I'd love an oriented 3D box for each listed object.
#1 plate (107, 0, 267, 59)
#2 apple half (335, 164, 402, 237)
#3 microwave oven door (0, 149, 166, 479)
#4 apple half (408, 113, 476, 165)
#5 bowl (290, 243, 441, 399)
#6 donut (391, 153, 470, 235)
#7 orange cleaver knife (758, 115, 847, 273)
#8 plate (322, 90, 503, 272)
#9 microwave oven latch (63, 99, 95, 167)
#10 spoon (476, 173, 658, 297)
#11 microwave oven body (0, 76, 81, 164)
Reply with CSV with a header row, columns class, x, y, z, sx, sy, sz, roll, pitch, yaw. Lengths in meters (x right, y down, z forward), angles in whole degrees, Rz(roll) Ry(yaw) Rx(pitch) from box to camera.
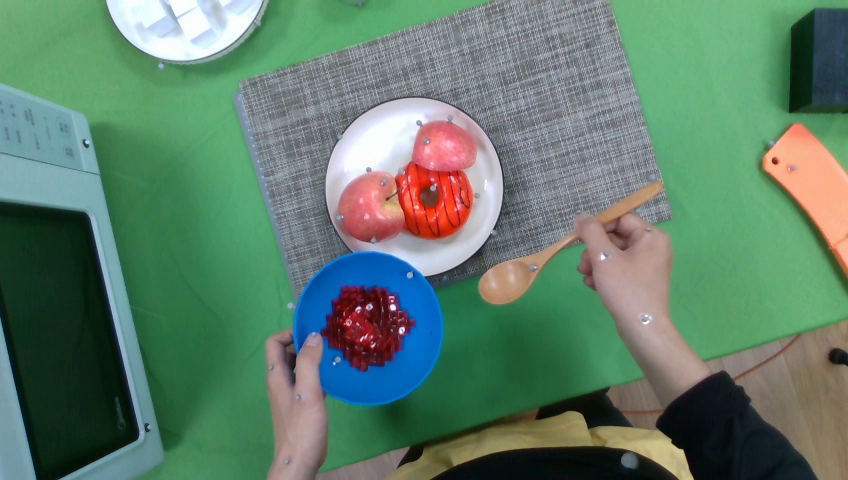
class,x,y,z,sx,sy,sz,roll,pitch,yaw
plate,-0.280,-0.319,0.732,0.207,0.039,0.207,0,90,6
apple half,-0.069,-0.042,0.675,0.074,0.053,0.080,-15,86,46
microwave oven door,-0.380,0.086,0.618,0.039,0.244,0.355,-15,88,5
apple half,0.022,-0.119,0.672,0.081,0.033,0.080,2,49,-2
bowl,-0.066,0.083,0.619,0.152,0.077,0.151,4,80,-20
donut,0.003,-0.054,0.688,0.099,0.048,0.099,0,89,4
orange cleaver knife,0.452,-0.040,0.670,0.077,0.012,0.211,-32,85,-1
plate,-0.013,-0.067,0.701,0.209,0.038,0.209,0,90,6
microwave oven latch,-0.421,-0.126,0.724,0.030,0.029,0.079,-13,89,5
spoon,0.132,-0.005,0.566,0.194,0.022,0.041,-35,57,18
microwave oven body,-0.531,0.080,0.637,0.326,0.260,0.441,-14,89,5
